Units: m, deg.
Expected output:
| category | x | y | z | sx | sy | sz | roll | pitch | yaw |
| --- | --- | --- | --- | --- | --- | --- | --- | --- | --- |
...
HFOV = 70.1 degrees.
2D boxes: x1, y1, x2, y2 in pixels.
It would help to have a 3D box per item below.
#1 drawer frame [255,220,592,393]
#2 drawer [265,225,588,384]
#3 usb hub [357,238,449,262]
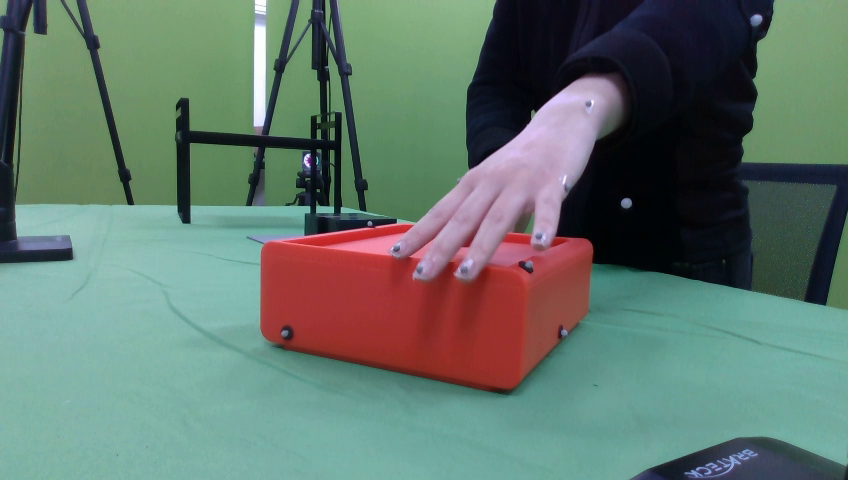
| category | x | y | z | sx | sy | sz | roll | pitch | yaw |
| --- | --- | --- | --- | --- | --- | --- | --- | --- | --- |
| drawer frame | 0.014 | 0.036 | 0.490 | 0.201 | 0.082 | 0.214 | 6 | 9 | 24 |
| drawer | 0.014 | 0.039 | 0.492 | 0.194 | 0.073 | 0.212 | 7 | 10 | 25 |
| usb hub | -0.028 | 0.013 | 0.855 | 0.126 | 0.025 | 0.049 | -2 | 8 | -33 |
